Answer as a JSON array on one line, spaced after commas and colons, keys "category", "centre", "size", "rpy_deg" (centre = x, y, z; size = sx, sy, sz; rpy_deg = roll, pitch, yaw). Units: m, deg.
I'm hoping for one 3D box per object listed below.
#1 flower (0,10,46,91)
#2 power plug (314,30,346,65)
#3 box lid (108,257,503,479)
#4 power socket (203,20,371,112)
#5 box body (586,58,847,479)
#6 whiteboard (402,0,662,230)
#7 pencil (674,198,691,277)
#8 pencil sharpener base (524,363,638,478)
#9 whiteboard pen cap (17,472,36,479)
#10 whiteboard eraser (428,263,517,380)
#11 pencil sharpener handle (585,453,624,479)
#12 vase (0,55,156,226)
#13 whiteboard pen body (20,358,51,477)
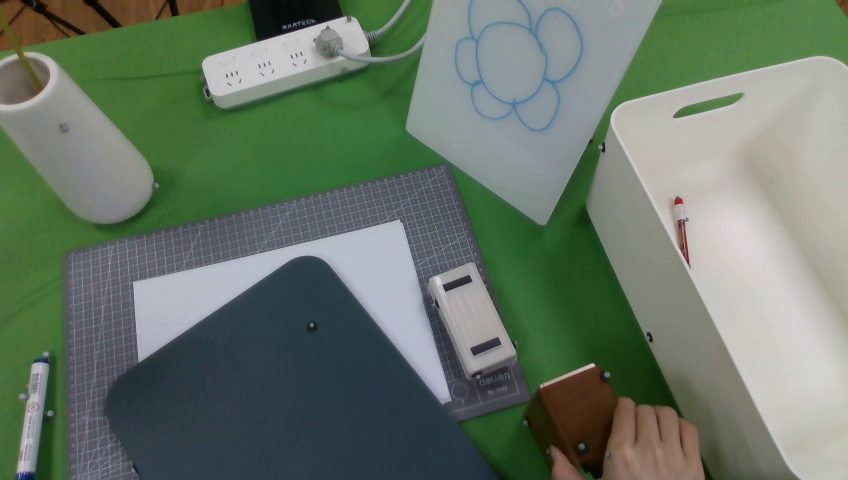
[{"category": "flower", "centre": [-0.362, -0.151, 0.566], "size": [0.038, 0.365, 0.043], "rpy_deg": [-26, 47, -19]}, {"category": "power plug", "centre": [-0.118, -0.231, 0.764], "size": [0.035, 0.053, 0.072], "rpy_deg": [-10, 65, -4]}, {"category": "box lid", "centre": [-0.111, 0.207, 0.581], "size": [0.263, 0.015, 0.368], "rpy_deg": [-36, 70, -16]}, {"category": "power socket", "centre": [-0.176, -0.227, 0.788], "size": [0.227, 0.033, 0.071], "rpy_deg": [-19, 65, -10]}, {"category": "box body", "centre": [0.340, 0.032, 0.581], "size": [0.254, 0.161, 0.360], "rpy_deg": [-15, 64, -7]}, {"category": "whiteboard", "centre": [0.128, -0.204, 0.656], "size": [0.216, 0.307, 0.144], "rpy_deg": [38, 50, 18]}, {"category": "pencil", "centre": [0.286, 0.040, 0.658], "size": [0.012, 0.012, 0.192], "rpy_deg": [3, 66, 3]}, {"category": "pencil sharpener base", "centre": [0.138, 0.168, 0.546], "size": [0.061, 0.108, 0.076], "rpy_deg": [-19, 64, -9]}, {"category": "whiteboard pen cap", "centre": [-0.369, 0.232, 0.560], "size": [0.018, 0.018, 0.033], "rpy_deg": [-10, 58, -4]}, {"category": "whiteboard eraser", "centre": [0.049, 0.083, 0.623], "size": [0.056, 0.042, 0.111], "rpy_deg": [-19, 65, -11]}, {"category": "pencil sharpener handle", "centre": [0.159, 0.203, 0.514], "size": [0.036, 0.068, 0.030], "rpy_deg": [-25, 65, 3]}, {"category": "vase", "centre": [-0.362, -0.096, 0.630], "size": [0.098, 0.201, 0.097], "rpy_deg": [-1, 63, 2]}, {"category": "whiteboard pen body", "centre": [-0.379, 0.182, 0.589], "size": [0.017, 0.017, 0.139], "rpy_deg": [-10, 60, -4]}]
